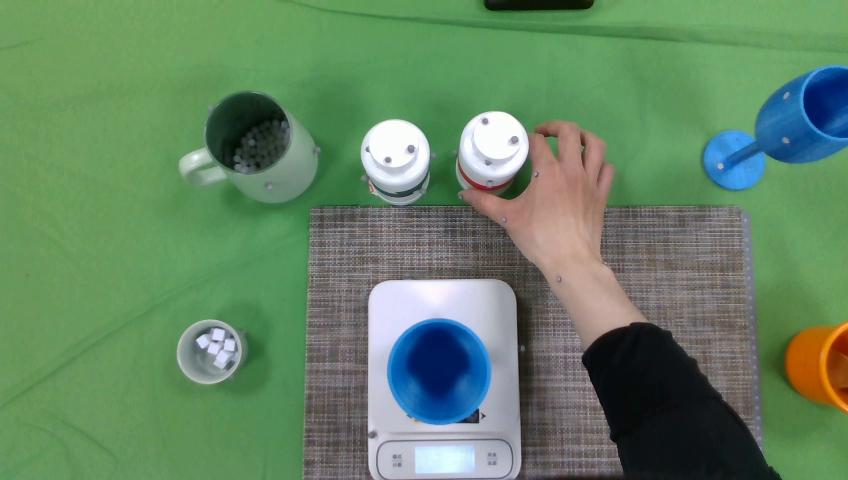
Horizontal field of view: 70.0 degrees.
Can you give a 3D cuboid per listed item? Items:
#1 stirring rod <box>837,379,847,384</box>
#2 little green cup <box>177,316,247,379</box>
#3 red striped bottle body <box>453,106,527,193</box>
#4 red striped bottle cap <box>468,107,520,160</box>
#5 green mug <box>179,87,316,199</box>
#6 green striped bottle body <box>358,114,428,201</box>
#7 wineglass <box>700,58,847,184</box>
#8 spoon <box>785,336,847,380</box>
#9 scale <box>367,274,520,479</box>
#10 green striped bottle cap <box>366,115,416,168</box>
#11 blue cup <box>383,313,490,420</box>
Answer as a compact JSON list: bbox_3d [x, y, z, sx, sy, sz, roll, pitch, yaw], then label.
[{"bbox_3d":[0.414,0.076,0.549,0.014,0.178,0.006,8,43,14],"label":"stirring rod"},{"bbox_3d":[-0.206,0.105,0.598,0.061,0.039,0.061,0,83,-1],"label":"little green cup"},{"bbox_3d":[0.062,-0.087,0.580,0.063,0.120,0.063,0,83,-1],"label":"red striped bottle body"},{"bbox_3d":[0.062,-0.093,0.528,0.044,0.018,0.044,0,82,-3],"label":"red striped bottle cap"},{"bbox_3d":[-0.173,-0.086,0.587,0.125,0.105,0.092,-22,84,-2],"label":"green mug"},{"bbox_3d":[-0.028,-0.079,0.579,0.063,0.119,0.063,0,82,0],"label":"green striped bottle body"},{"bbox_3d":[0.323,-0.101,0.556,0.074,0.172,0.073,0,83,1],"label":"wineglass"},{"bbox_3d":[0.433,0.128,0.544,0.022,0.192,0.041,13,91,-42],"label":"spoon"},{"bbox_3d":[0.018,0.134,0.596,0.149,0.031,0.200,-1,84,0],"label":"scale"},{"bbox_3d":[-0.029,-0.086,0.527,0.044,0.020,0.044,0,83,0],"label":"green striped bottle cap"},{"bbox_3d":[0.011,0.105,0.534,0.092,0.100,0.092,0,86,0],"label":"blue cup"}]
